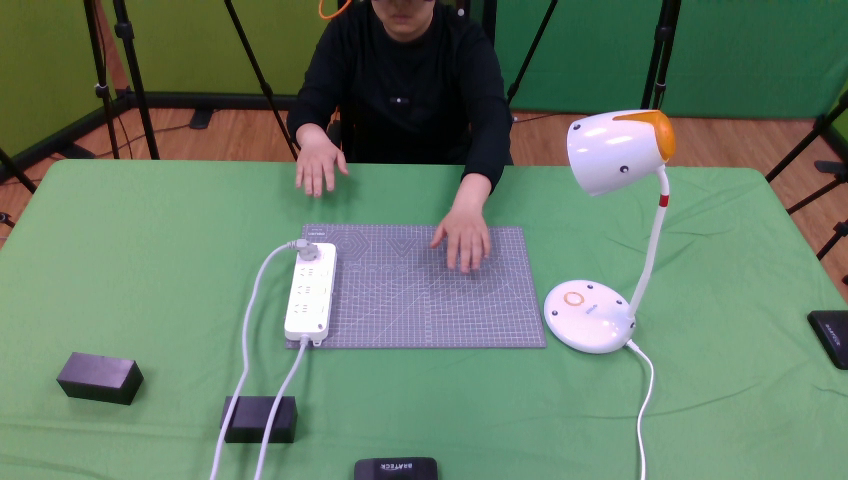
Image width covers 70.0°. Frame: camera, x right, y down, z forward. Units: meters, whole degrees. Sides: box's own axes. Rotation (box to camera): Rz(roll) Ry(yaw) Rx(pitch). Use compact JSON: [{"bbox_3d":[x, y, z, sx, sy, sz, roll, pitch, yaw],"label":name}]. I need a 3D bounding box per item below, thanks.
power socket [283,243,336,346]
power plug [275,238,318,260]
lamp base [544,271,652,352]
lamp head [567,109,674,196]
[{"bbox_3d":[-0.202,0.088,1.086,0.072,0.033,0.225,1,46,-2],"label":"power socket"},{"bbox_3d":[-0.232,0.018,1.119,0.072,0.053,0.035,9,46,6],"label":"power plug"},{"bbox_3d":[0.309,0.086,1.029,0.178,0.181,0.160,32,52,21],"label":"lamp base"},{"bbox_3d":[0.272,-0.123,0.818,0.122,0.113,0.112,-9,35,37],"label":"lamp head"}]
